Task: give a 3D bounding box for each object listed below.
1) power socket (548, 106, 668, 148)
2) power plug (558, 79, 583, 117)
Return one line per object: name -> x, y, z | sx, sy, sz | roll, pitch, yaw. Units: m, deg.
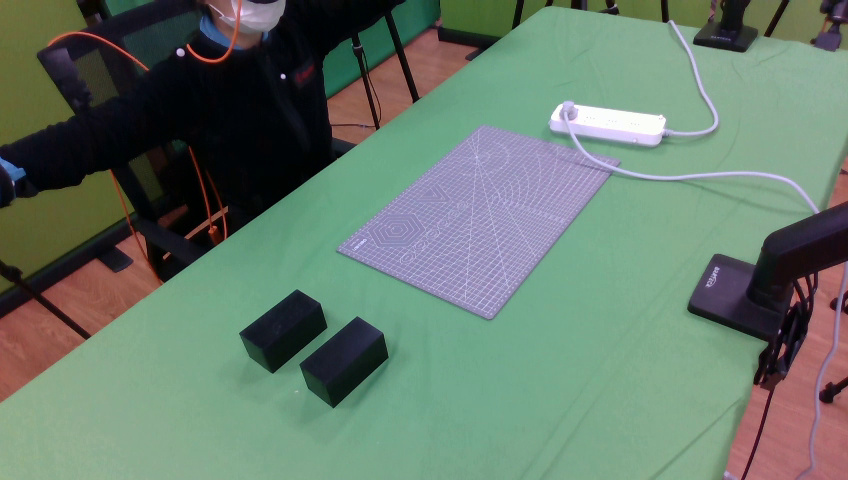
power socket -> 0.352, -0.223, 1.170 | 0.225, 0.033, 0.072 | 15, 46, 23
power plug -> 0.278, -0.268, 1.157 | 0.035, 0.073, 0.052 | -46, 36, -20
